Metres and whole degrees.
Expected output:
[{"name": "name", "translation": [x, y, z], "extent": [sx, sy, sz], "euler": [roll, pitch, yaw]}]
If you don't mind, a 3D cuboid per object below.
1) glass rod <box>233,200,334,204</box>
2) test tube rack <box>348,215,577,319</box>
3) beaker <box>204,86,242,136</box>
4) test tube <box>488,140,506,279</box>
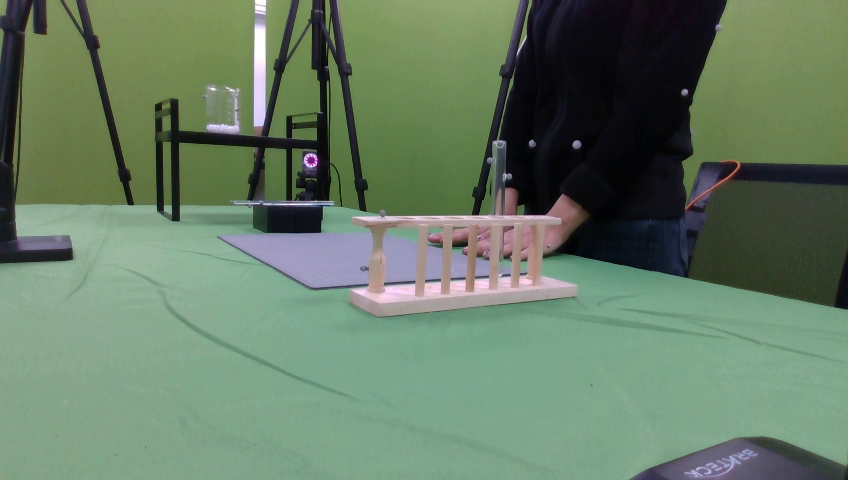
[{"name": "glass rod", "translation": [-0.262, -0.071, 1.146], "extent": [0.201, 0.008, 0.008], "euler": [-2, 9, -34]}, {"name": "test tube rack", "translation": [0.048, 0.021, 0.619], "extent": [0.244, 0.085, 0.066], "euler": [-2, 9, -31]}, {"name": "beaker", "translation": [-0.429, -0.276, 1.300], "extent": [0.083, 0.100, 0.074], "euler": [9, 10, 37]}, {"name": "test tube", "translation": [0.079, -0.032, 0.653], "extent": [0.017, 0.150, 0.017], "euler": [1, 2, 0]}]
